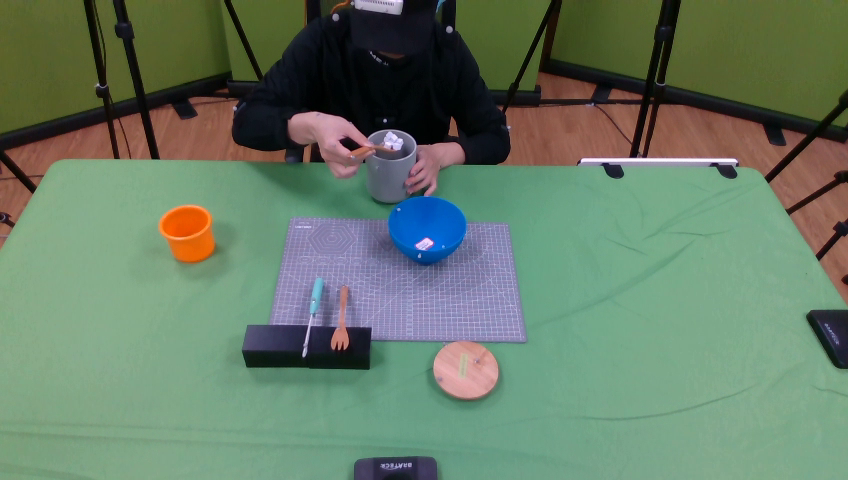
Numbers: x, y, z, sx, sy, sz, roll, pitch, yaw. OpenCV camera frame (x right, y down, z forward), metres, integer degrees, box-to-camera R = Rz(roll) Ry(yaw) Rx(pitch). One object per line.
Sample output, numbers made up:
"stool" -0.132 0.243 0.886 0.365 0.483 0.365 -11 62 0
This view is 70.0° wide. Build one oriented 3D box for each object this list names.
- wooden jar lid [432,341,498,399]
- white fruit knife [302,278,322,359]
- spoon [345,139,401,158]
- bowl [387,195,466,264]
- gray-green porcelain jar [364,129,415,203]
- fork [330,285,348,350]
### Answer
"wooden jar lid" 0.067 0.216 0.997 0.108 0.021 0.107 1 46 -1
"white fruit knife" -0.189 0.126 1.020 0.016 0.027 0.206 0 33 -2
"spoon" -0.097 -0.172 1.138 0.041 0.022 0.194 24 21 18
"bowl" 0.003 -0.007 1.162 0.151 0.077 0.150 2 46 -2
"gray-green porcelain jar" -0.073 -0.149 1.264 0.106 0.127 0.105 3 46 -2
"fork" -0.140 0.127 1.021 0.028 0.019 0.206 -5 28 -2
